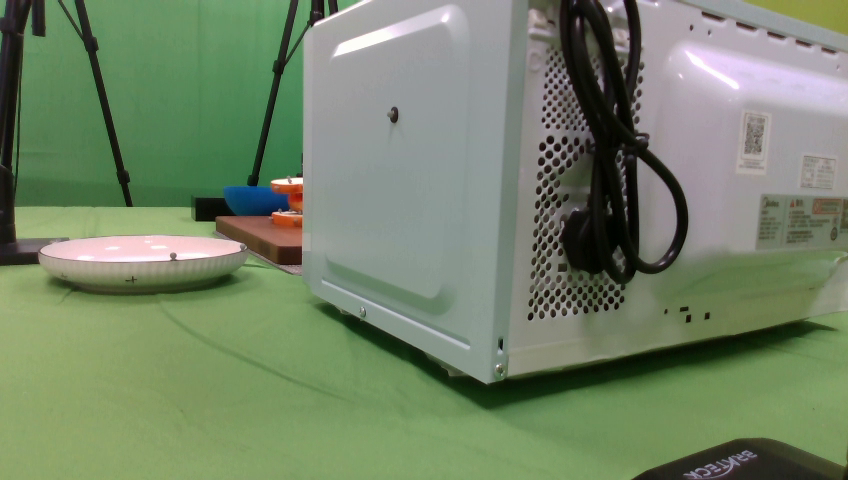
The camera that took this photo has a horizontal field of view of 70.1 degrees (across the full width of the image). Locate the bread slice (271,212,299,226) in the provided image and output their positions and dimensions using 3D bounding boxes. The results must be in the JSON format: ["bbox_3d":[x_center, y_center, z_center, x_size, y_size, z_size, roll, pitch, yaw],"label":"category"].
[{"bbox_3d":[-0.197,-0.038,1.050,0.132,0.019,0.104,-1,6,-30],"label":"bread slice"}]

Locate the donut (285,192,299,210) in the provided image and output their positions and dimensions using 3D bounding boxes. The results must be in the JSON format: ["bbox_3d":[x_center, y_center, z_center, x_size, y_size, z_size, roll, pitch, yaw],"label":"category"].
[{"bbox_3d":[-0.191,-0.069,1.055,0.099,0.048,0.099,4,6,0],"label":"donut"}]

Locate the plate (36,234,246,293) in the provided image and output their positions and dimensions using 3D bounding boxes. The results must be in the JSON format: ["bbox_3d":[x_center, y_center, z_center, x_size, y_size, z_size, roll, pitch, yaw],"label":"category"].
[{"bbox_3d":[-0.305,0.026,0.668,0.208,0.039,0.207,3,7,0],"label":"plate"}]

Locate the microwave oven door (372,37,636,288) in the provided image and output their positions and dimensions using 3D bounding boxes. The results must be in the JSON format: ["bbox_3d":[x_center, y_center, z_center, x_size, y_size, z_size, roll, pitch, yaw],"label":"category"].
[{"bbox_3d":[0.109,-0.080,0.686,0.358,0.243,0.039,-2,9,-33],"label":"microwave oven door"}]

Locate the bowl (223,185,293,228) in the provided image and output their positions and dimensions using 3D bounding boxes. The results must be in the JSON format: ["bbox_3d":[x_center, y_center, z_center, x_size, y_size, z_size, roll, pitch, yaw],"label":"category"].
[{"bbox_3d":[-0.330,-0.068,1.230,0.151,0.077,0.151,3,8,0],"label":"bowl"}]

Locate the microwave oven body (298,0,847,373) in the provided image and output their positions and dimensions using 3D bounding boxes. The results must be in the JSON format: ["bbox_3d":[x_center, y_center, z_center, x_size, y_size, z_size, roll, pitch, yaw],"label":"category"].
[{"bbox_3d":[0.151,-0.055,0.542,0.444,0.260,0.324,-2,7,-33],"label":"microwave oven body"}]

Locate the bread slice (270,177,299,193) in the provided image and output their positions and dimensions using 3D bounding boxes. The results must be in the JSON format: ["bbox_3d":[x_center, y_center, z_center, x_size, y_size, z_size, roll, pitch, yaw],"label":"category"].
[{"bbox_3d":[-0.196,-0.099,1.048,0.135,0.018,0.106,-11,13,-33],"label":"bread slice"}]

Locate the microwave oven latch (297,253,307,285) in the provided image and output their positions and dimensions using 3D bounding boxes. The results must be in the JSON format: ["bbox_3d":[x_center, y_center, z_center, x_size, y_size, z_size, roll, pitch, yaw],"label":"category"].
[{"bbox_3d":[-0.082,0.027,0.582,0.079,0.029,0.030,-1,7,-32],"label":"microwave oven latch"}]

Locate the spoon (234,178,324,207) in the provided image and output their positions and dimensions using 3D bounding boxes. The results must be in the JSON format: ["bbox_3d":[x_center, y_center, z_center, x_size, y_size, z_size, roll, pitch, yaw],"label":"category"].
[{"bbox_3d":[-0.300,-0.103,1.266,0.194,0.021,0.041,-23,10,-24],"label":"spoon"}]
